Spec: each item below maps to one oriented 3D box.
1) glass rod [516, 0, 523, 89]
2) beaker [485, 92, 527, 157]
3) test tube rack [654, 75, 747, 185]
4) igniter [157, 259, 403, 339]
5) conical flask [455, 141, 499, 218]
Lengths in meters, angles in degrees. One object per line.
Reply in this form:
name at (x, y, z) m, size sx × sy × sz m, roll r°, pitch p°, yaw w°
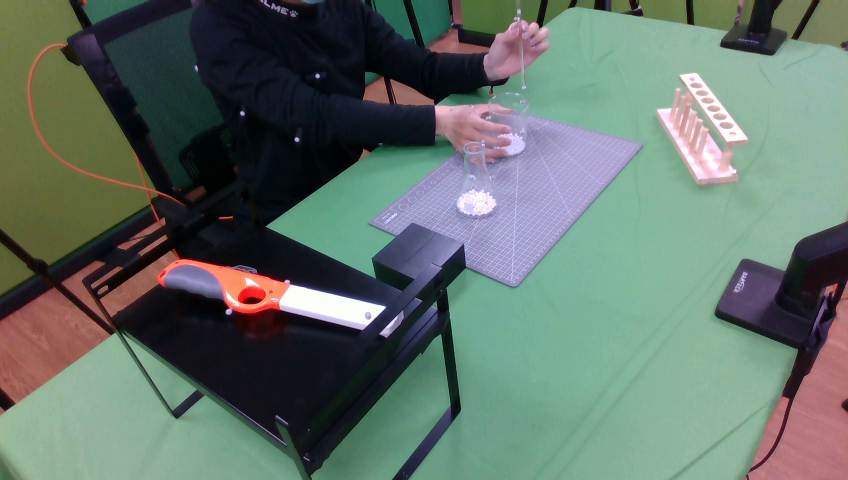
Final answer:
glass rod at (0.175, -0.362, 1.109) m, size 0.008 × 0.008 × 0.199 m, roll -2°, pitch 70°, yaw 6°
beaker at (0.158, -0.213, 1.131) m, size 0.074 × 0.101 × 0.083 m, roll -25°, pitch 48°, yaw -15°
test tube rack at (0.491, -0.205, 1.092) m, size 0.067 × 0.085 × 0.241 m, roll -5°, pitch 40°, yaw 3°
igniter at (-0.157, 0.059, 0.638) m, size 0.275 × 0.025 × 0.057 m, roll 11°, pitch 43°, yaw 14°
conical flask at (0.085, -0.103, 0.999) m, size 0.075 × 0.122 × 0.075 m, roll -4°, pitch 41°, yaw 4°
